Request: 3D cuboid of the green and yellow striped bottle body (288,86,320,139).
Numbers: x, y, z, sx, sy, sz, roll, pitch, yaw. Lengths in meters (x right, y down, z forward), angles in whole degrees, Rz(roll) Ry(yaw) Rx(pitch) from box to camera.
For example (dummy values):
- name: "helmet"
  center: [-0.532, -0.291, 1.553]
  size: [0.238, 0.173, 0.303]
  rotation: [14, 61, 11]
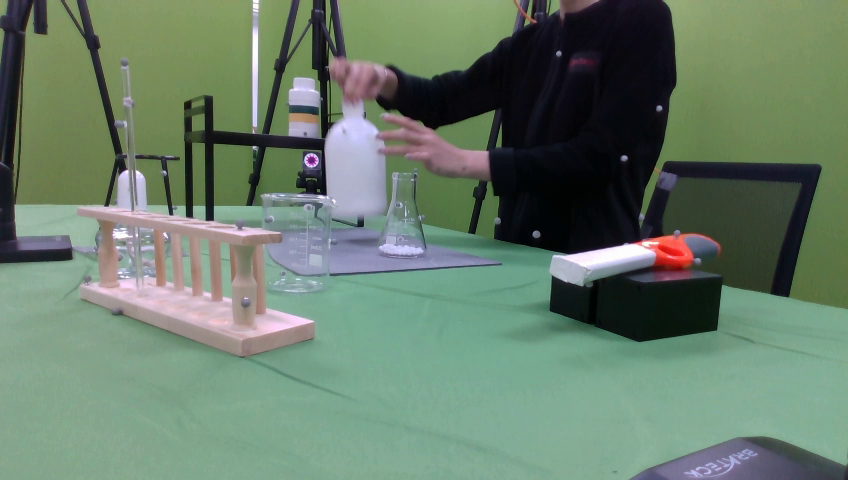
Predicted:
- name: "green and yellow striped bottle body"
  center: [-0.250, -0.272, 1.261]
  size: [0.063, 0.119, 0.063]
  rotation: [3, 7, 0]

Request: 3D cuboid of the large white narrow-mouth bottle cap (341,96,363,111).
- name: "large white narrow-mouth bottle cap"
  center: [-0.118, -0.223, 0.990]
  size: [0.038, 0.024, 0.037]
  rotation: [-2, 9, 1]

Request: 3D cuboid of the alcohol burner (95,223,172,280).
- name: "alcohol burner"
  center: [-0.320, -0.017, 0.667]
  size: [0.078, 0.119, 0.078]
  rotation: [0, 7, 0]

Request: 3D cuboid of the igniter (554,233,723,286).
- name: "igniter"
  center: [0.214, 0.015, 0.570]
  size: [0.278, 0.025, 0.057]
  rotation: [-5, 22, -44]

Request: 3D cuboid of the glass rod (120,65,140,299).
- name: "glass rod"
  center: [-0.249, -0.047, 0.513]
  size: [0.008, 0.199, 0.008]
  rotation: [-1, 4, 0]

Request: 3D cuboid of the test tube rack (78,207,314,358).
- name: "test tube rack"
  center: [-0.197, 0.024, 0.499]
  size: [0.241, 0.085, 0.067]
  rotation: [8, 8, 37]

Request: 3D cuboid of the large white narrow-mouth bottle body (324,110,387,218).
- name: "large white narrow-mouth bottle body"
  center: [-0.115, -0.138, 1.005]
  size: [0.102, 0.194, 0.101]
  rotation: [-2, 9, 1]

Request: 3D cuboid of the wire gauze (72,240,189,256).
- name: "wire gauze"
  center: [-0.399, 0.013, 0.820]
  size: [0.126, 0.011, 0.121]
  rotation: [-3, 8, -37]

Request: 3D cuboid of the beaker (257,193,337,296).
- name: "beaker"
  center: [-0.130, 0.003, 0.628]
  size: [0.084, 0.100, 0.074]
  rotation: [5, 8, 15]

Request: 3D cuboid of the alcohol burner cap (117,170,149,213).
- name: "alcohol burner cap"
  center: [-0.320, -0.052, 0.661]
  size: [0.034, 0.048, 0.034]
  rotation: [-3, 0, 0]

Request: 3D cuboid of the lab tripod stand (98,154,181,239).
- name: "lab tripod stand"
  center: [-0.427, -0.066, 0.942]
  size: [0.148, 0.131, 0.148]
  rotation: [1, 6, 0]

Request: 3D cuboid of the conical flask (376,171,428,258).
- name: "conical flask"
  center: [-0.029, -0.038, 0.875]
  size: [0.075, 0.122, 0.075]
  rotation: [3, 7, 0]

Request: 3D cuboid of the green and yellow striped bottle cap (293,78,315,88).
- name: "green and yellow striped bottle cap"
  center: [-0.248, -0.323, 1.256]
  size: [0.045, 0.020, 0.045]
  rotation: [4, 8, 0]
